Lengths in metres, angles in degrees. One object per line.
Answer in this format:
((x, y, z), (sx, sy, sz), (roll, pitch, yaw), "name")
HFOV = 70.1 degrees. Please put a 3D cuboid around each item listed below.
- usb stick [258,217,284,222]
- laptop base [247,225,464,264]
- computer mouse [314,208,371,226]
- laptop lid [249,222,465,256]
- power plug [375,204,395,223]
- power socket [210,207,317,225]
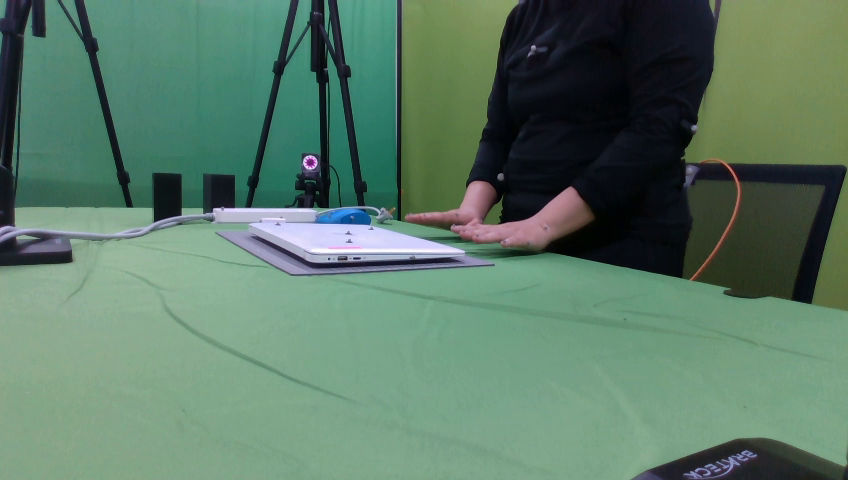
((-0.291, -0.028, 1.119), (0.059, 0.027, 0.021), (-3, 13, -29), "usb stick")
((-0.125, 0.006, 0.955), (0.237, 0.023, 0.352), (2, 6, -30), "laptop base")
((-0.175, -0.047, 1.292), (0.118, 0.041, 0.062), (-8, 14, -34), "computer mouse")
((-0.122, -0.005, 0.954), (0.243, 0.013, 0.355), (1, 7, -28), "laptop lid")
((-0.094, -0.068, 1.414), (0.035, 0.052, 0.072), (43, 7, -27), "power plug")
((-0.335, -0.051, 1.281), (0.228, 0.032, 0.072), (-1, 9, -29), "power socket")
